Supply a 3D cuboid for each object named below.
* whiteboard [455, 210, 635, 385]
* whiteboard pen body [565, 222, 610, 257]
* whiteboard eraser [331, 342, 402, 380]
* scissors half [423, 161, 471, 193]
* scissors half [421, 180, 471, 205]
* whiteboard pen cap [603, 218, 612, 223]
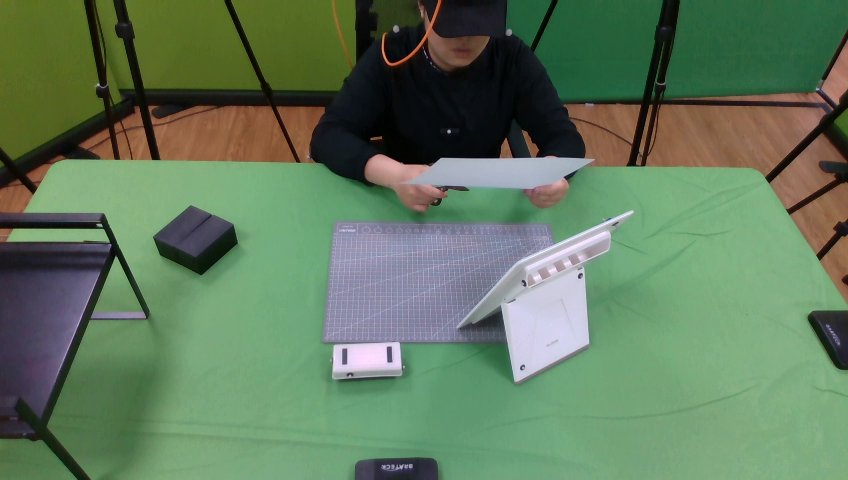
[{"bbox_3d":[0.211,0.111,0.955,0.217,0.306,0.143,-21,71,-23],"label":"whiteboard"},{"bbox_3d":[0.335,-0.004,1.228,0.141,0.017,0.017,-32,56,-29],"label":"whiteboard pen body"},{"bbox_3d":[-0.094,0.198,0.986,0.113,0.042,0.055,-2,44,-6],"label":"whiteboard eraser"},{"bbox_3d":[0.044,-0.119,1.174,0.013,0.040,0.174,0,23,-31],"label":"scissors half"},{"bbox_3d":[0.042,-0.096,1.177,0.013,0.175,0.040,-6,85,-30],"label":"scissors half"},{"bbox_3d":[0.379,-0.031,1.255,0.033,0.018,0.018,-33,56,-30],"label":"whiteboard pen cap"}]
